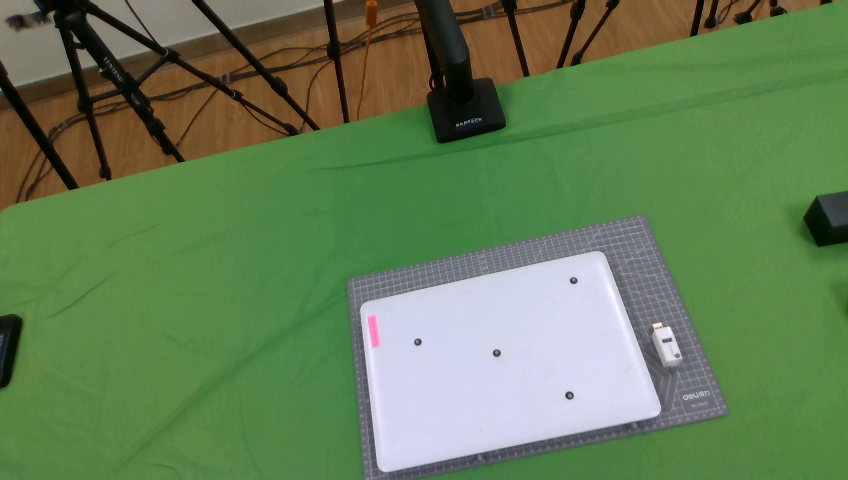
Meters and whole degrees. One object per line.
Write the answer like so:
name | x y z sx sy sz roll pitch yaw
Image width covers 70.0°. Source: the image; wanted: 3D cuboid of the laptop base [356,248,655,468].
laptop base | 0.093 0.148 0.801 0.354 0.023 0.233 -13 61 3

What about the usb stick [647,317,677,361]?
usb stick | 0.300 0.122 0.771 0.021 0.027 0.058 -15 55 6

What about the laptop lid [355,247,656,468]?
laptop lid | 0.091 0.144 0.790 0.356 0.013 0.239 -12 60 4
